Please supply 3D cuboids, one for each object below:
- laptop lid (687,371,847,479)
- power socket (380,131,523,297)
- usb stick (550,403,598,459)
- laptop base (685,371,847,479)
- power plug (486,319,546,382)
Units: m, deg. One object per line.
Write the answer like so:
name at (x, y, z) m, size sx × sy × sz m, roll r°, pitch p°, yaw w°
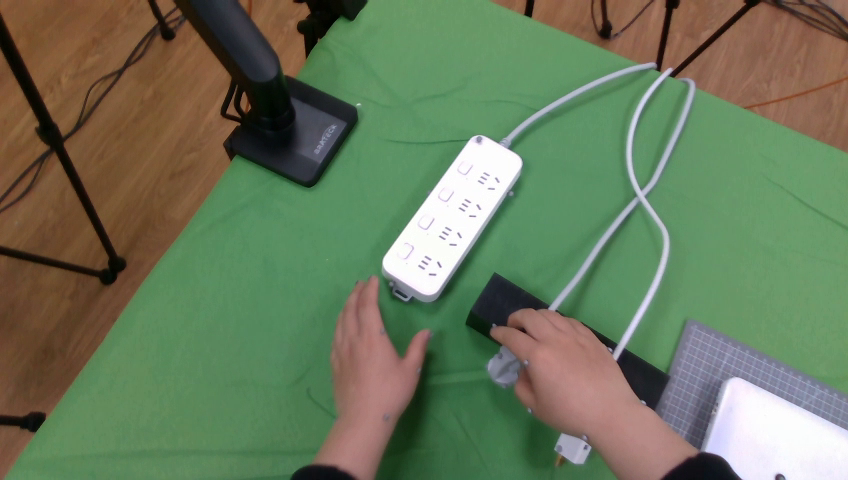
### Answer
laptop lid at (0.416, 0.305, 0.571) m, size 0.356 × 0.013 × 0.241 m, roll 28°, pitch 72°, yaw 8°
power socket at (0.034, -0.033, 0.687) m, size 0.072 × 0.033 × 0.226 m, roll 33°, pitch 69°, yaw 9°
usb stick at (0.144, 0.191, 0.590) m, size 0.027 × 0.022 × 0.059 m, roll 31°, pitch 96°, yaw 41°
laptop base at (0.418, 0.307, 0.583) m, size 0.353 × 0.023 × 0.234 m, roll 26°, pitch 72°, yaw 7°
power plug at (0.097, 0.117, 0.605) m, size 0.072 × 0.053 × 0.035 m, roll -23°, pitch 51°, yaw -1°
